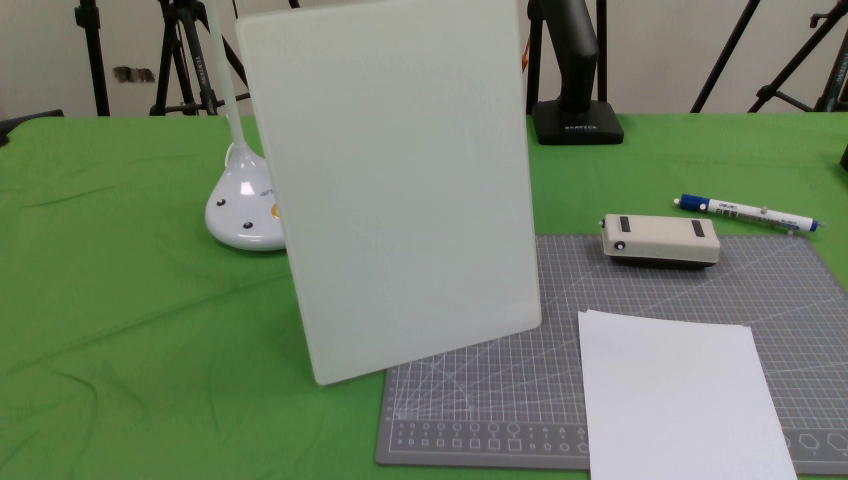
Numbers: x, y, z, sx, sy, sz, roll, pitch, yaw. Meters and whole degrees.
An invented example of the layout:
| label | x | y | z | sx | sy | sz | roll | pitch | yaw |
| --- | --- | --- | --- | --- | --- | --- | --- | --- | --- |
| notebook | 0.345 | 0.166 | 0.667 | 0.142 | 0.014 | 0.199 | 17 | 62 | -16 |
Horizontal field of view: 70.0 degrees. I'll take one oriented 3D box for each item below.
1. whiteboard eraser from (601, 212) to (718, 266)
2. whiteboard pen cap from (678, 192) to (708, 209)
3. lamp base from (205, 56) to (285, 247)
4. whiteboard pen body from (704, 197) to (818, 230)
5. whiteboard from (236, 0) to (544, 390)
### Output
| label | x | y | z | sx | sy | sz | roll | pitch | yaw |
| --- | --- | --- | --- | --- | --- | --- | --- | --- | --- |
| whiteboard eraser | 0.248 | -0.001 | 0.644 | 0.112 | 0.042 | 0.055 | 4 | 39 | 8 |
| whiteboard pen cap | 0.323 | -0.046 | 0.725 | 0.033 | 0.018 | 0.018 | 15 | 40 | 25 |
| lamp base | -0.192 | -0.108 | 0.692 | 0.177 | 0.182 | 0.160 | 28 | 46 | 36 |
| whiteboard pen body | 0.375 | -0.034 | 0.702 | 0.140 | 0.017 | 0.017 | 15 | 40 | 24 |
| whiteboard | -0.028 | -0.055 | 0.560 | 0.218 | 0.307 | 0.142 | -13 | 19 | -13 |
